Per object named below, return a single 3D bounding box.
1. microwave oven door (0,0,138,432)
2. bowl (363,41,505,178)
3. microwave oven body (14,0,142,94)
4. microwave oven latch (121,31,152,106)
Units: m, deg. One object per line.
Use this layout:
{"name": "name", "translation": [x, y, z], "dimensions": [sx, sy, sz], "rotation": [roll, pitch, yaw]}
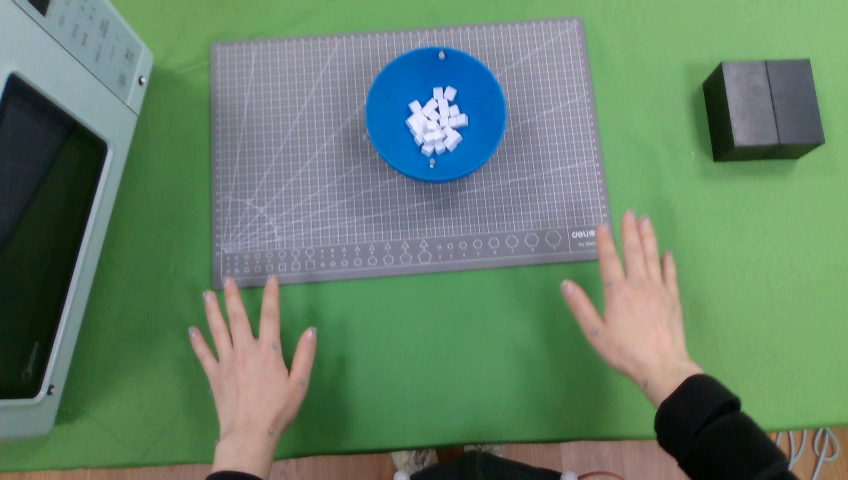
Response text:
{"name": "microwave oven door", "translation": [-0.372, -0.006, 0.544], "dimensions": [0.039, 0.245, 0.354], "rotation": [9, 78, 2]}
{"name": "bowl", "translation": [0.011, -0.131, 0.670], "dimensions": [0.151, 0.077, 0.150], "rotation": [0, 78, 0]}
{"name": "microwave oven body", "translation": [-0.509, -0.070, 0.561], "dimensions": [0.326, 0.261, 0.440], "rotation": [9, 79, 1]}
{"name": "microwave oven latch", "translation": [-0.333, -0.195, 0.687], "dimensions": [0.030, 0.029, 0.079], "rotation": [11, 79, 2]}
